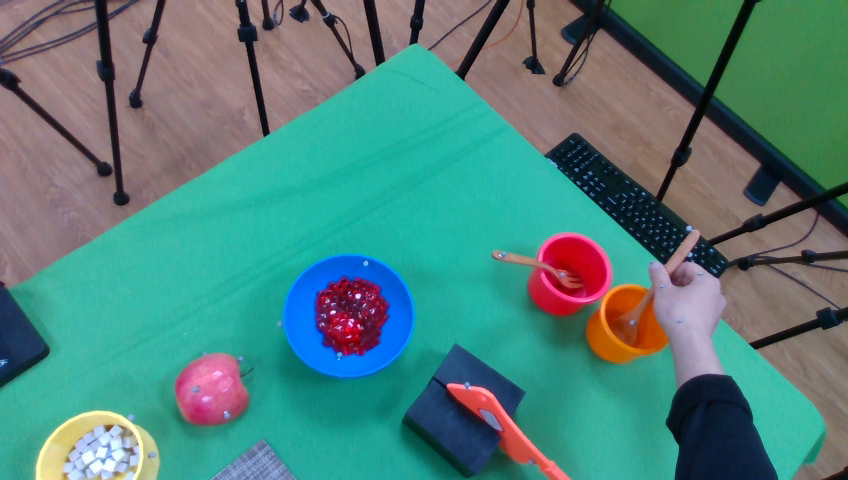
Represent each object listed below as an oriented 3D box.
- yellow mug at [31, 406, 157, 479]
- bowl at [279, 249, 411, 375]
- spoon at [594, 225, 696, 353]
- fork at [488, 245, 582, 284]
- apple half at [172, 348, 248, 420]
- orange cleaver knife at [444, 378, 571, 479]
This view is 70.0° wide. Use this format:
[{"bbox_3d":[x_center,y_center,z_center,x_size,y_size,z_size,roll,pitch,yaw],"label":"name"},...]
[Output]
[{"bbox_3d":[-0.343,0.240,0.619,0.100,0.064,0.130,25,64,3],"label":"yellow mug"},{"bbox_3d":[-0.094,0.094,0.723,0.152,0.077,0.150,4,65,-8],"label":"bowl"},{"bbox_3d":[0.277,0.063,0.754,0.041,0.194,0.022,40,25,24],"label":"spoon"},{"bbox_3d":[0.142,0.030,0.754,0.209,0.018,0.028,19,51,-49],"label":"fork"},{"bbox_3d":[-0.244,0.159,0.681,0.075,0.053,0.080,-16,68,-13],"label":"apple half"},{"bbox_3d":[0.104,0.229,0.689,0.212,0.077,0.012,47,59,-10],"label":"orange cleaver knife"}]
